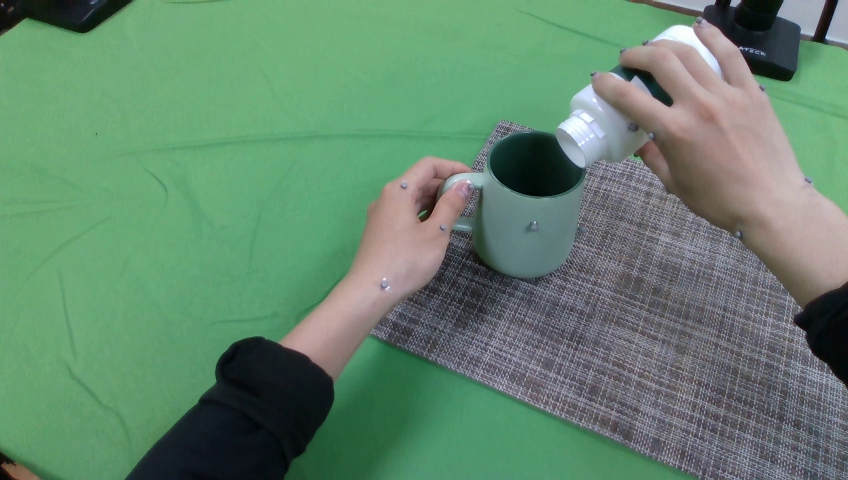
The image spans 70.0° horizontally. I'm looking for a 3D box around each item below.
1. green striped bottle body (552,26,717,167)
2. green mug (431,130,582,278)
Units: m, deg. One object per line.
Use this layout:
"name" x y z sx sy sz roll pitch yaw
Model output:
"green striped bottle body" 0.157 -0.105 0.467 0.119 0.064 0.062 -36 57 -3
"green mug" 0.069 -0.028 0.518 0.125 0.106 0.091 -1 52 -1
